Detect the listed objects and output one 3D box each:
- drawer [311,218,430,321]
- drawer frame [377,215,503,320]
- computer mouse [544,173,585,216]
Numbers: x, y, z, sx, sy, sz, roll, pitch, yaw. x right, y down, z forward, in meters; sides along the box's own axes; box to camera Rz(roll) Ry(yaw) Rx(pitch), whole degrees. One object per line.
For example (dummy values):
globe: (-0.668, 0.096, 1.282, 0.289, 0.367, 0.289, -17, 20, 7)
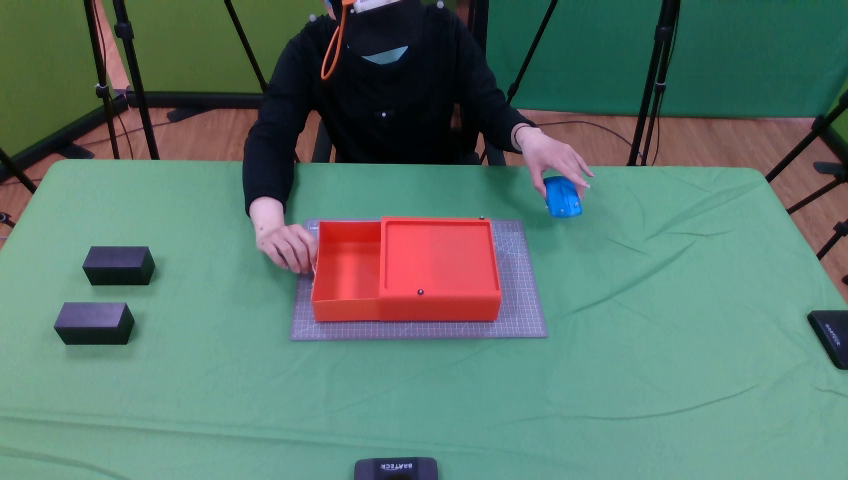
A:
drawer: (-0.091, 0.049, 1.097, 0.212, 0.073, 0.193, 0, 46, -4)
drawer frame: (0.024, 0.047, 1.103, 0.214, 0.083, 0.200, 1, 46, -4)
computer mouse: (0.281, -0.095, 1.216, 0.063, 0.041, 0.116, -4, 46, -2)
